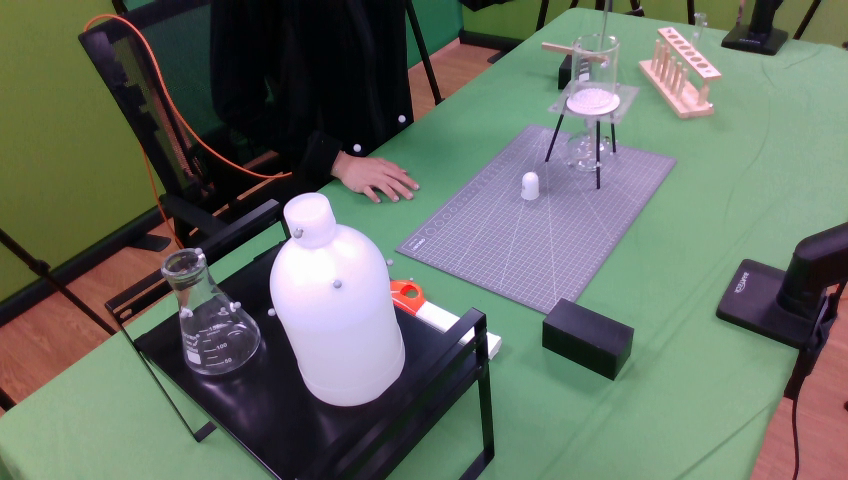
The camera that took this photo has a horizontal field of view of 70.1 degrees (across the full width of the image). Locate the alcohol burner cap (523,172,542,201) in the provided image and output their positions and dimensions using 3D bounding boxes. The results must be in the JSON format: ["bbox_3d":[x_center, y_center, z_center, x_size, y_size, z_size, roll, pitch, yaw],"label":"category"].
[{"bbox_3d":[0.186,-0.096,1.047,0.034,0.048,0.033,-6,37,5],"label":"alcohol burner cap"}]

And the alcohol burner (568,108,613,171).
[{"bbox_3d":[0.296,-0.182,1.074,0.078,0.119,0.077,-5,43,5],"label":"alcohol burner"}]

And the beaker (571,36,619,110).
[{"bbox_3d":[0.281,-0.273,0.992,0.084,0.101,0.073,-24,42,-16],"label":"beaker"}]

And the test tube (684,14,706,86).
[{"bbox_3d":[0.541,-0.378,1.215,0.017,0.151,0.017,-2,44,3],"label":"test tube"}]

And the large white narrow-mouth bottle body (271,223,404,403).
[{"bbox_3d":[-0.077,0.048,0.525,0.102,0.195,0.101,-5,40,5],"label":"large white narrow-mouth bottle body"}]

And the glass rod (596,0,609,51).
[{"bbox_3d":[0.282,-0.388,0.920,0.008,0.200,0.008,1,33,0],"label":"glass rod"}]

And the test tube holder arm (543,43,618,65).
[{"bbox_3d":[0.344,-0.413,1.341,0.177,0.015,0.013,25,50,31],"label":"test tube holder arm"}]

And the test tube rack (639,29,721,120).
[{"bbox_3d":[0.527,-0.351,1.262,0.067,0.085,0.241,-7,40,1],"label":"test tube rack"}]

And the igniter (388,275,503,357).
[{"bbox_3d":[-0.008,0.093,0.870,0.274,0.025,0.057,24,60,33],"label":"igniter"}]

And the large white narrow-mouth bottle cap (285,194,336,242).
[{"bbox_3d":[-0.087,-0.017,0.467,0.038,0.024,0.037,-5,40,4],"label":"large white narrow-mouth bottle cap"}]

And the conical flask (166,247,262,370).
[{"bbox_3d":[-0.209,0.064,0.584,0.075,0.122,0.075,-5,41,4],"label":"conical flask"}]

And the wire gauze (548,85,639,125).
[{"bbox_3d":[0.286,-0.233,1.020,0.124,0.011,0.122,15,43,30],"label":"wire gauze"}]

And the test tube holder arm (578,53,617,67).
[{"bbox_3d":[0.376,-0.393,1.314,0.087,0.015,0.010,26,51,32],"label":"test tube holder arm"}]

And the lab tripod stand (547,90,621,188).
[{"bbox_3d":[0.289,-0.184,1.062,0.148,0.132,0.147,-6,41,6],"label":"lab tripod stand"}]
